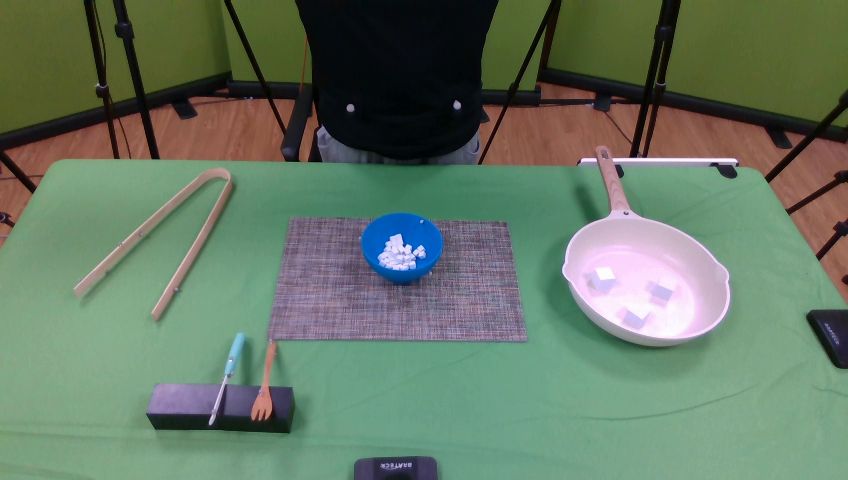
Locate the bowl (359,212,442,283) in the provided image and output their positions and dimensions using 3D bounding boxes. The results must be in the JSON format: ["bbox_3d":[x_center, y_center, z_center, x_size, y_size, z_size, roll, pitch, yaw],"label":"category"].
[{"bbox_3d":[-0.044,0.026,1.125,0.151,0.077,0.150,2,46,-2],"label":"bowl"}]

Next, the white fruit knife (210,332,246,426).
[{"bbox_3d":[-0.301,0.206,0.930,0.016,0.027,0.206,5,29,-7],"label":"white fruit knife"}]

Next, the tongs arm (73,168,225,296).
[{"bbox_3d":[-0.515,-0.026,1.172,0.050,0.026,0.383,18,46,11],"label":"tongs arm"}]

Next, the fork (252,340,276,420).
[{"bbox_3d":[-0.242,0.211,0.932,0.028,0.019,0.206,-5,27,-7],"label":"fork"}]

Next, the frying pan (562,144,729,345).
[{"bbox_3d":[0.396,-0.008,1.179,0.307,0.103,0.484,1,55,-4],"label":"frying pan"}]

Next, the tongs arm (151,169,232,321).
[{"bbox_3d":[-0.437,-0.005,1.163,0.028,0.028,0.385,6,46,5],"label":"tongs arm"}]
